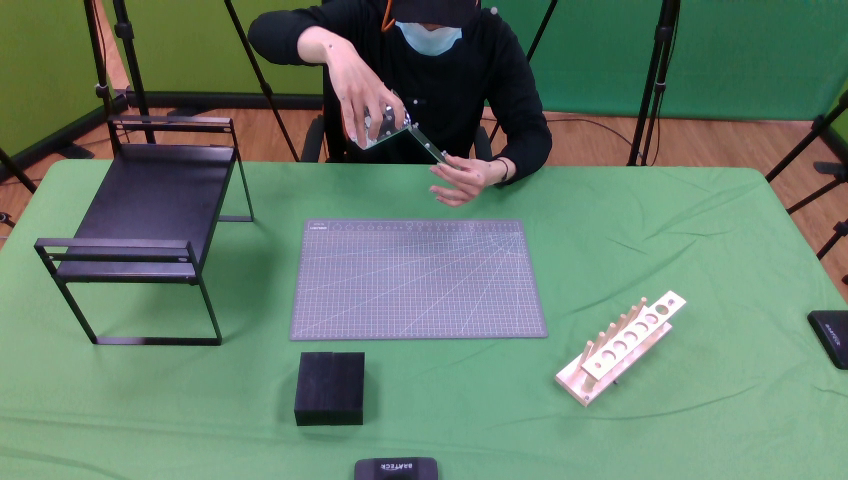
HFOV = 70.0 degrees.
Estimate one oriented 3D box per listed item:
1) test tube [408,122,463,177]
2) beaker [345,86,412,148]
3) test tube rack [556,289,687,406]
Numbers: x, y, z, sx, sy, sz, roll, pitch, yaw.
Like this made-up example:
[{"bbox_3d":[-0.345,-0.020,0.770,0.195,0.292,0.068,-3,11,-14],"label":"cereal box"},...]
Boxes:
[{"bbox_3d":[0.025,-0.165,1.125,0.017,0.151,0.017,-30,38,27],"label":"test tube"},{"bbox_3d":[-0.080,-0.212,1.072,0.100,0.084,0.073,-24,37,12],"label":"beaker"},{"bbox_3d":[0.332,0.165,1.014,0.242,0.085,0.066,-30,55,-28],"label":"test tube rack"}]
